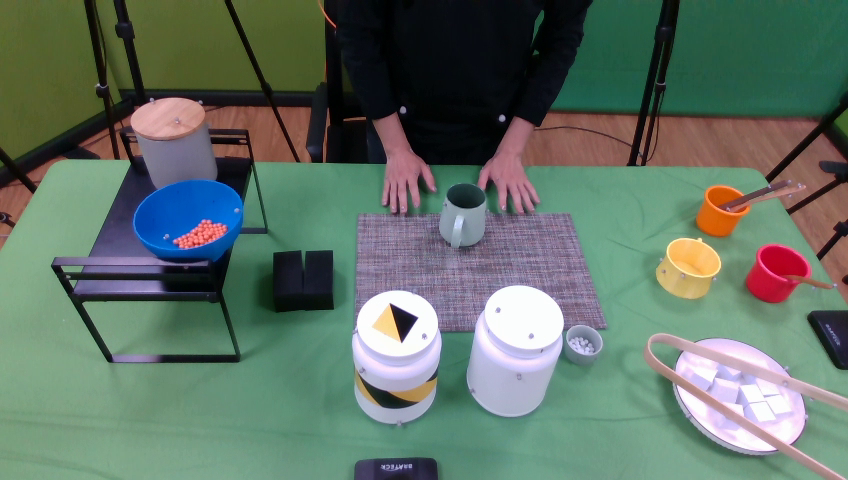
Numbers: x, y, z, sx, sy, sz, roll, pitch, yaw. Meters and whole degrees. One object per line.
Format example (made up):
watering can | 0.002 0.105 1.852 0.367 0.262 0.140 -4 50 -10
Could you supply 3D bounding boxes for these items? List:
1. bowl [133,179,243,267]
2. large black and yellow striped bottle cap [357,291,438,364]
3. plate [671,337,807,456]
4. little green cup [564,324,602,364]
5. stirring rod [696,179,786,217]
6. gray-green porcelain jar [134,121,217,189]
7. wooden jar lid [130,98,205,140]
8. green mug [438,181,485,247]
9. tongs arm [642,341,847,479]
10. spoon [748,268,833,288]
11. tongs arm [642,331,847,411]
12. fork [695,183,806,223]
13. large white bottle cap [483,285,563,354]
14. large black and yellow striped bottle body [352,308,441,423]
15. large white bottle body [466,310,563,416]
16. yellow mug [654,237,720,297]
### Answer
bowl | -0.339 -0.013 0.895 0.151 0.077 0.150 2 46 -2
large black and yellow striped bottle cap | -0.037 0.121 0.851 0.115 0.019 0.114 1 46 -1
plate | 0.503 0.254 0.984 0.208 0.039 0.206 2 46 -2
little green cup | 0.269 0.179 1.035 0.061 0.039 0.061 2 45 -2
stirring rod | 0.648 -0.086 1.243 0.176 0.006 0.014 -25 48 29
gray-green porcelain jar | -0.397 -0.141 0.980 0.106 0.127 0.105 2 47 -2
wooden jar lid | -0.393 -0.183 0.934 0.108 0.021 0.107 3 44 -2
green mug | 0.071 -0.039 1.177 0.092 0.105 0.124 12 47 7
tongs arm | 0.504 0.278 0.918 0.386 0.028 0.028 34 59 22
spoon | 0.660 0.068 1.097 0.041 0.193 0.021 -4 91 -6
tongs arm | 0.546 0.227 0.968 0.384 0.026 0.050 22 52 13
fork | 0.657 -0.075 1.229 0.207 0.019 0.028 -24 36 36
large white bottle cap | 0.142 0.112 0.871 0.115 0.018 0.114 3 46 -2
large black and yellow striped bottle body | -0.042 0.177 0.913 0.131 0.185 0.130 2 46 -2
large white bottle body | 0.138 0.171 0.932 0.131 0.185 0.130 2 46 -2
yellow mug | 0.509 0.041 1.167 0.099 0.064 0.130 24 48 18
